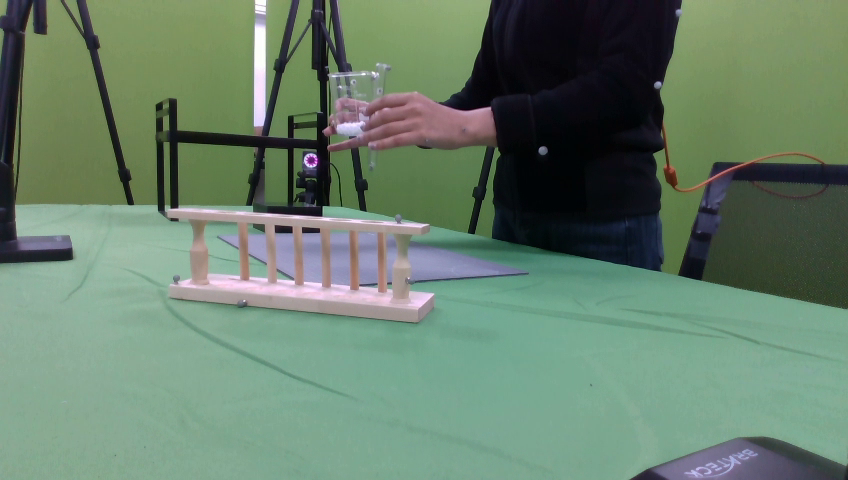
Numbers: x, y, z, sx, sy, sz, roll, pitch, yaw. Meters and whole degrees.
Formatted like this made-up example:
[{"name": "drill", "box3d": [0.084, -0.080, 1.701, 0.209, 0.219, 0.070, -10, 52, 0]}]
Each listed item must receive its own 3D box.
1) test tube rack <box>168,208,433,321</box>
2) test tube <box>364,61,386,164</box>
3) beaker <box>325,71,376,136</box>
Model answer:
[{"name": "test tube rack", "box3d": [-0.116, 0.017, 0.574, 0.242, 0.085, 0.067, 4, 8, 13]}, {"name": "test tube", "box3d": [-0.073, -0.186, 0.893, 0.017, 0.150, 0.017, 8, 16, -2]}, {"name": "beaker", "box3d": [-0.116, -0.226, 0.998, 0.084, 0.100, 0.074, -2, 15, 9]}]
